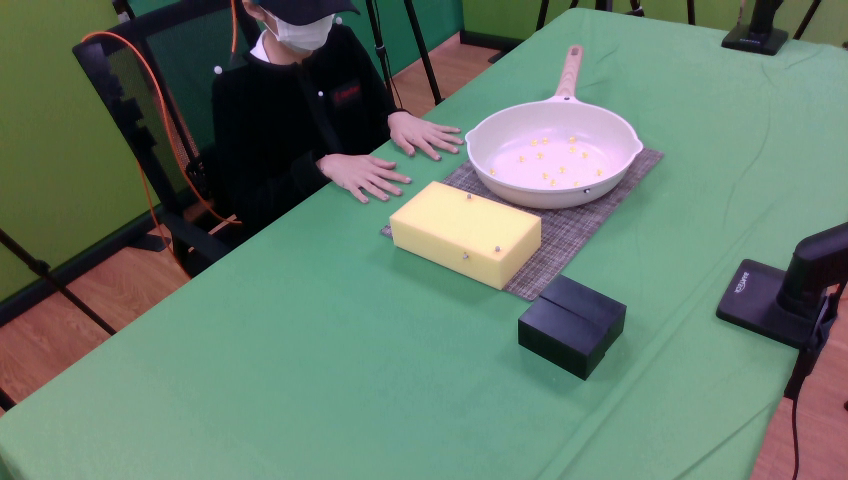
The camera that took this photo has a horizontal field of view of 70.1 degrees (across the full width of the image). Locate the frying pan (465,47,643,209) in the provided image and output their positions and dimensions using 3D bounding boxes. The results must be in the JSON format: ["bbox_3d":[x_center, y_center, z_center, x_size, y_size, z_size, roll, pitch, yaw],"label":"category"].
[{"bbox_3d":[0.255,-0.228,1.135,0.305,0.103,0.487,9,51,17],"label":"frying pan"}]

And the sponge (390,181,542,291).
[{"bbox_3d":[0.064,-0.012,0.945,0.205,0.061,0.118,22,49,30],"label":"sponge"}]
